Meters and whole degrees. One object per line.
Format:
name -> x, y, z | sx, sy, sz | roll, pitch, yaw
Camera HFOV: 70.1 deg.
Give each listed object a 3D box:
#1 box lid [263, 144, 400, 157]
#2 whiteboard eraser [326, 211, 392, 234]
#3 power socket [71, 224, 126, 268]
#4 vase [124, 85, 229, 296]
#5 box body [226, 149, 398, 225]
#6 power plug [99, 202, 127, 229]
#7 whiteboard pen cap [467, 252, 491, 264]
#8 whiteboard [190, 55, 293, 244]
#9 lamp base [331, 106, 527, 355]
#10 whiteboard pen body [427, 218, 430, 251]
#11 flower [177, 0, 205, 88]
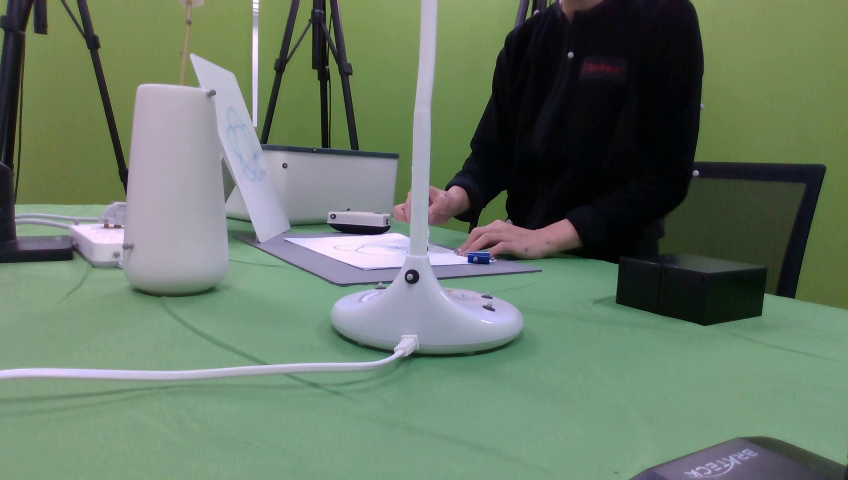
box lid -> -0.263, -0.203, 1.369 | 0.262, 0.015, 0.373 | 9, 10, 39
whiteboard eraser -> -0.121, -0.033, 1.131 | 0.112, 0.042, 0.056 | 4, 8, 13
power socket -> -0.409, 0.004, 0.793 | 0.072, 0.032, 0.225 | -2, 8, -37
vase -> -0.244, -0.047, 0.598 | 0.098, 0.200, 0.098 | 3, 8, 0
box body -> -0.265, -0.129, 1.380 | 0.253, 0.160, 0.366 | 8, 9, 39
power plug -> -0.415, -0.026, 0.848 | 0.073, 0.052, 0.035 | 6, 5, -28
whiteboard pen cap -> 0.077, 0.025, 0.841 | 0.033, 0.018, 0.018 | 1, 7, 4
whiteboard -> -0.362, -0.129, 1.029 | 0.144, 0.305, 0.217 | -18, 7, 3
lamp base -> 0.006, -0.012, 0.478 | 0.161, 0.180, 0.179 | 2, 10, 2
whiteboard pen body -> -0.003, -0.052, 0.934 | 0.017, 0.140, 0.017 | -8, -2, 0
flower -> -0.243, -0.131, 0.609 | 0.044, 0.361, 0.038 | -5, -12, 12
